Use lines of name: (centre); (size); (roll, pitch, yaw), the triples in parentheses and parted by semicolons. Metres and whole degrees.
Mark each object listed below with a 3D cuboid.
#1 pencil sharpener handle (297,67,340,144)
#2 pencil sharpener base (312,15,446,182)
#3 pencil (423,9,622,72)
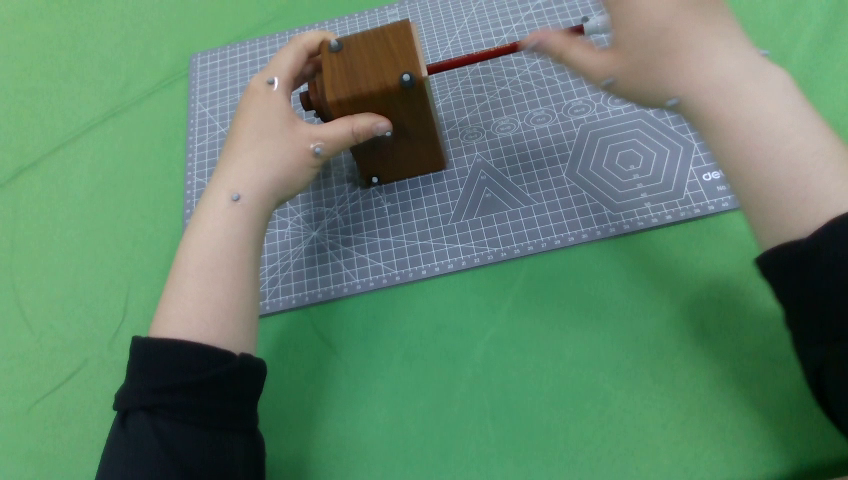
pencil sharpener handle: (-0.083, -0.094, 0.447); (0.030, 0.068, 0.035); (-14, 62, 4)
pencil sharpener base: (-0.032, -0.101, 0.455); (0.076, 0.108, 0.061); (-14, 60, 4)
pencil: (0.042, -0.132, 0.424); (0.194, 0.012, 0.012); (-14, 61, 4)
